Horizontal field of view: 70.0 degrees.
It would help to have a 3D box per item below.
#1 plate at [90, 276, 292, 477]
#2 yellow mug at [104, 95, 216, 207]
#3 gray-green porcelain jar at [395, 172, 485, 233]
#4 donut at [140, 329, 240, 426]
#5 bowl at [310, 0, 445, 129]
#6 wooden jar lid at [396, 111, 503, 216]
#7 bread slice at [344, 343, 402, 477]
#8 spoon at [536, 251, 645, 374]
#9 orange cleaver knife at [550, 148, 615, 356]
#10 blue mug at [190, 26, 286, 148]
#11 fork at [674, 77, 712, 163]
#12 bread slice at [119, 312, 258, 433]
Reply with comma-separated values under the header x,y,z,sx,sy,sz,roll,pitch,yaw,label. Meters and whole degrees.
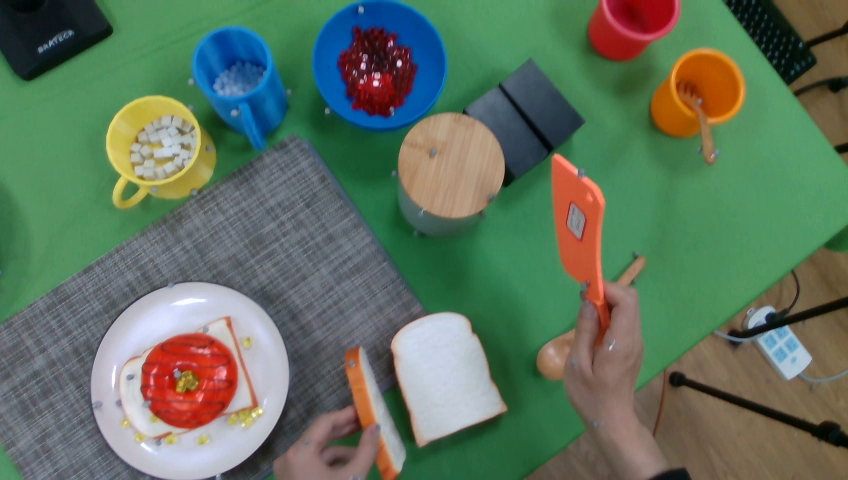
x,y,z,sx,sy,sz,roll,pitch,yaw,label
-0.247,0.145,0.657,0.209,0.038,0.208,1,81,-5,plate
-0.302,-0.091,0.678,0.100,0.064,0.130,33,81,2,yellow mug
0.021,-0.065,0.671,0.106,0.127,0.105,1,81,-5,gray-green porcelain jar
-0.242,0.142,0.630,0.099,0.048,0.098,1,81,-8,donut
-0.053,-0.193,0.709,0.151,0.077,0.151,1,82,-4,bowl
0.025,-0.076,0.609,0.108,0.021,0.108,1,82,-8,wooden jar lid
-0.053,0.174,0.642,0.018,0.107,0.134,-21,81,-4,bread slice
0.202,0.083,0.716,0.041,0.022,0.193,41,80,21,spoon
0.146,0.017,0.557,0.012,0.076,0.213,-26,123,-15,orange cleaver knife
-0.201,-0.160,0.678,0.082,0.106,0.116,-14,83,-6,blue mug
0.310,-0.143,0.695,0.028,0.019,0.206,28,36,-6,fork
-0.259,0.151,0.659,0.132,0.019,0.104,-22,83,-11,bread slice
